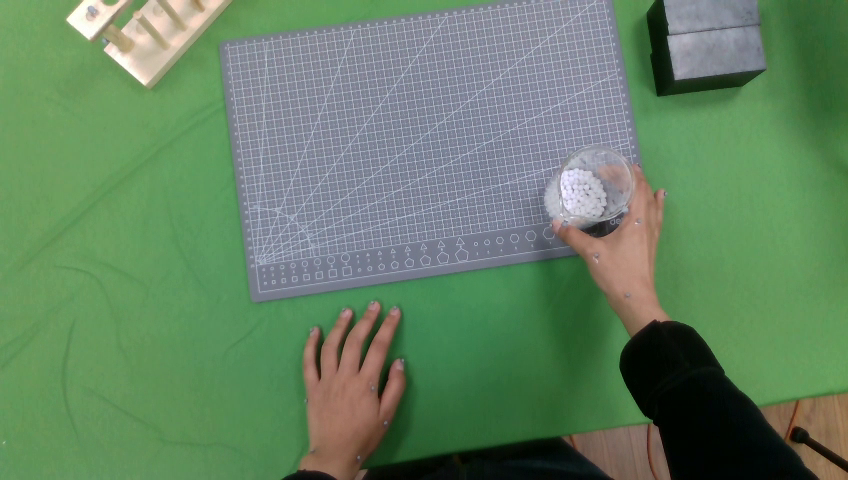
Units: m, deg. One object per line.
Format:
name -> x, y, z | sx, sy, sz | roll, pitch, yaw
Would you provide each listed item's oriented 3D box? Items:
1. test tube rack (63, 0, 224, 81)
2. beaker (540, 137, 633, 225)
test tube rack -> -0.257, -0.295, 0.652 | 0.066, 0.085, 0.242 | 41, 86, 4
beaker -> 0.161, -0.053, 0.625 | 0.074, 0.100, 0.084 | 44, 87, 4
